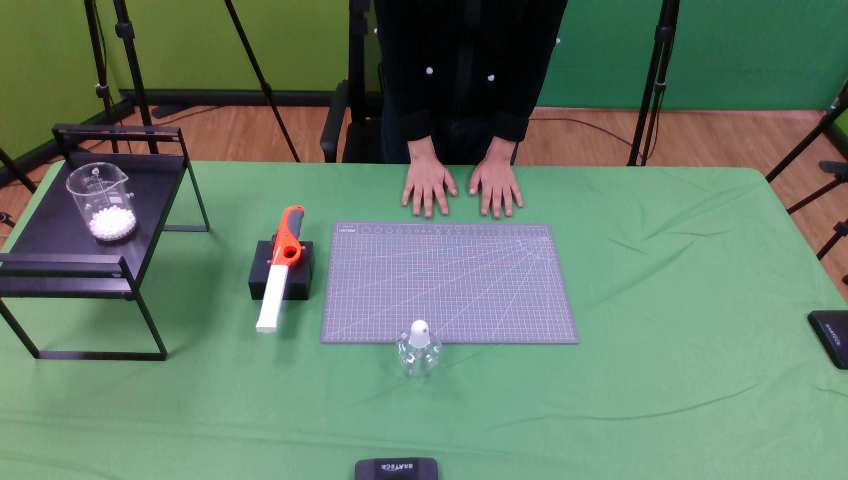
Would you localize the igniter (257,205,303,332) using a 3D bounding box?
[{"bbox_3d":[-0.252,0.040,1.070,0.057,0.025,0.275,3,49,-2],"label":"igniter"}]

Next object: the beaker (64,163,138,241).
[{"bbox_3d":[-0.477,-0.055,0.910,0.084,0.101,0.073,-9,48,-13],"label":"beaker"}]

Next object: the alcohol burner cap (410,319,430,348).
[{"bbox_3d":[-0.007,0.144,0.950,0.034,0.048,0.033,0,47,0],"label":"alcohol burner cap"}]

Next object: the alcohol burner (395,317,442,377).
[{"bbox_3d":[-0.009,0.166,0.972,0.078,0.120,0.077,1,45,0],"label":"alcohol burner"}]
